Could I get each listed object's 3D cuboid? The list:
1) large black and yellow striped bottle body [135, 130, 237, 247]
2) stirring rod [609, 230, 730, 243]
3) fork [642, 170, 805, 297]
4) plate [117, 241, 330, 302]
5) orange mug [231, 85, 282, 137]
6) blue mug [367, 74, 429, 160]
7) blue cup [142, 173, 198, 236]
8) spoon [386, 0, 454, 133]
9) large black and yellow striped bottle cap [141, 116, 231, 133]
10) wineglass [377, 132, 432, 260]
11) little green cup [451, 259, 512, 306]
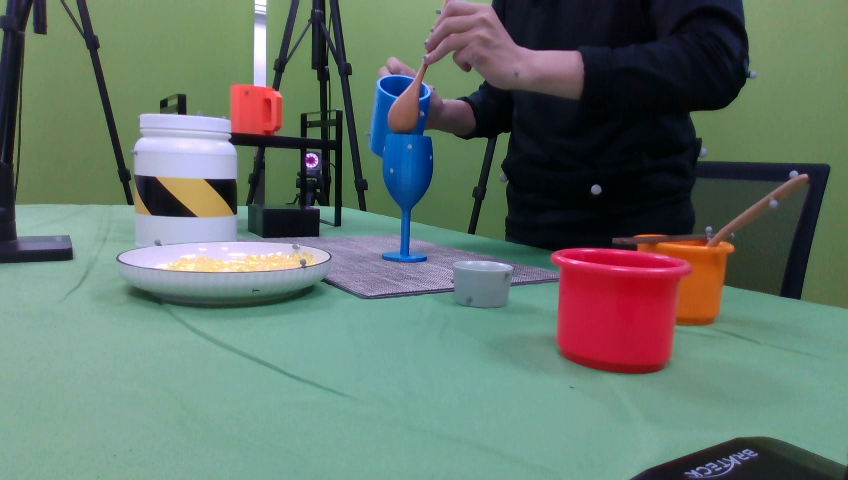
[{"bbox_3d":[-0.327,-0.074,0.838,0.131,0.184,0.130,2,7,0],"label":"large black and yellow striped bottle body"},{"bbox_3d":[0.241,-0.004,0.582,0.177,0.006,0.014,-4,10,-33],"label":"stirring rod"},{"bbox_3d":[0.261,0.004,0.545,0.028,0.018,0.207,6,-37,-15],"label":"fork"},{"bbox_3d":[-0.203,0.031,0.630,0.209,0.038,0.209,3,7,0],"label":"plate"},{"bbox_3d":[-0.335,-0.261,1.225,0.125,0.100,0.084,2,6,35],"label":"orange mug"},{"bbox_3d":[-0.043,-0.199,0.940,0.082,0.106,0.116,1,39,-13],"label":"blue mug"},{"bbox_3d":[-0.425,-0.060,1.014,0.093,0.100,0.092,4,9,0],"label":"blue cup"},{"bbox_3d":[-0.003,-0.232,0.796,0.041,0.193,0.022,25,10,9],"label":"spoon"},{"bbox_3d":[-0.324,-0.157,0.826,0.115,0.019,0.115,1,7,0],"label":"large black and yellow striped bottle cap"},{"bbox_3d":[-0.026,-0.062,0.841,0.074,0.172,0.073,2,8,0],"label":"wineglass"},{"bbox_3d":[0.057,0.043,0.611,0.061,0.038,0.061,3,7,0],"label":"little green cup"}]
